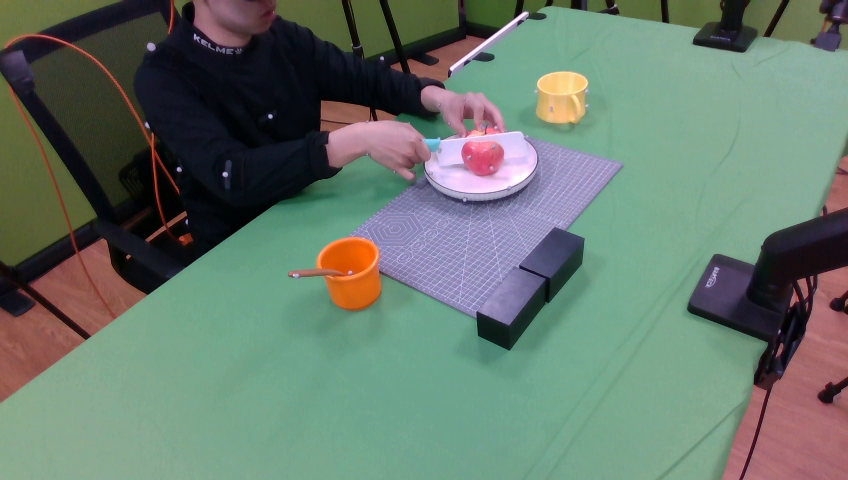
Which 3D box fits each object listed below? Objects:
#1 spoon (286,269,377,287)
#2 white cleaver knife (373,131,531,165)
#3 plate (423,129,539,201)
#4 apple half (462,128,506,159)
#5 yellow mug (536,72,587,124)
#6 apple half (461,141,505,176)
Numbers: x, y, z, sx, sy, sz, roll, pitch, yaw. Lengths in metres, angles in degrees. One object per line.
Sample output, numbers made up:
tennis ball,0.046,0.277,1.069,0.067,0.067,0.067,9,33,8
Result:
spoon,-0.125,0.049,0.831,0.041,0.195,0.021,22,92,28
white cleaver knife,0.044,-0.156,1.071,0.285,0.066,0.021,-1,48,16
plate,0.103,-0.132,1.092,0.209,0.038,0.208,-4,40,4
apple half,0.107,-0.164,1.083,0.081,0.075,0.053,-2,25,4
yellow mug,0.285,-0.281,1.222,0.100,0.064,0.130,-16,42,-9
apple half,0.103,-0.137,1.060,0.081,0.081,0.032,3,48,12
